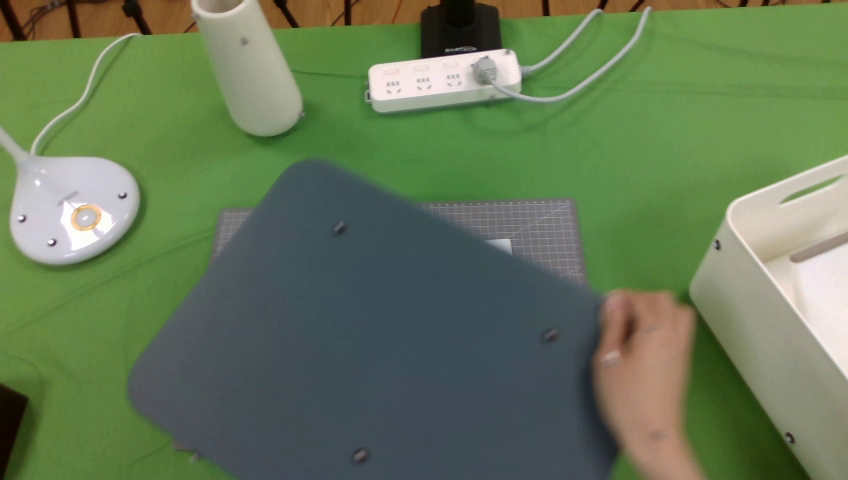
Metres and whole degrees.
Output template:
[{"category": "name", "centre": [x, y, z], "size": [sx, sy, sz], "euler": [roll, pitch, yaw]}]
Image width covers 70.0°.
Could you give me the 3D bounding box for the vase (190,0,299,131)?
[{"category": "vase", "centre": [-0.225, -0.231, 0.766], "size": [0.098, 0.202, 0.097], "euler": [-2, 59, 4]}]

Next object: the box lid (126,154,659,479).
[{"category": "box lid", "centre": [-0.025, 0.091, 0.486], "size": [0.370, 0.015, 0.262], "euler": [26, 68, 13]}]

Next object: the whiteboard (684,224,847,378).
[{"category": "whiteboard", "centre": [0.450, 0.097, 0.573], "size": [0.217, 0.145, 0.302], "euler": [-20, 60, -11]}]

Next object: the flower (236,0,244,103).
[{"category": "flower", "centre": [-0.210, -0.265, 0.691], "size": [0.038, 0.363, 0.044], "euler": [46, 62, 7]}]

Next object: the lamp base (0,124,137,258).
[{"category": "lamp base", "centre": [-0.462, -0.092, 0.710], "size": [0.178, 0.182, 0.160], "euler": [28, 65, 21]}]

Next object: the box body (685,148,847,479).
[{"category": "box body", "centre": [0.451, 0.103, 0.557], "size": [0.254, 0.162, 0.360], "euler": [-20, 61, -8]}]

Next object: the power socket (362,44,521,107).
[{"category": "power socket", "centre": [0.025, -0.230, 0.848], "size": [0.227, 0.033, 0.071], "euler": [-6, 61, -1]}]

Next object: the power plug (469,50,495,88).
[{"category": "power plug", "centre": [0.077, -0.222, 0.814], "size": [0.035, 0.053, 0.072], "euler": [3, 66, 5]}]
